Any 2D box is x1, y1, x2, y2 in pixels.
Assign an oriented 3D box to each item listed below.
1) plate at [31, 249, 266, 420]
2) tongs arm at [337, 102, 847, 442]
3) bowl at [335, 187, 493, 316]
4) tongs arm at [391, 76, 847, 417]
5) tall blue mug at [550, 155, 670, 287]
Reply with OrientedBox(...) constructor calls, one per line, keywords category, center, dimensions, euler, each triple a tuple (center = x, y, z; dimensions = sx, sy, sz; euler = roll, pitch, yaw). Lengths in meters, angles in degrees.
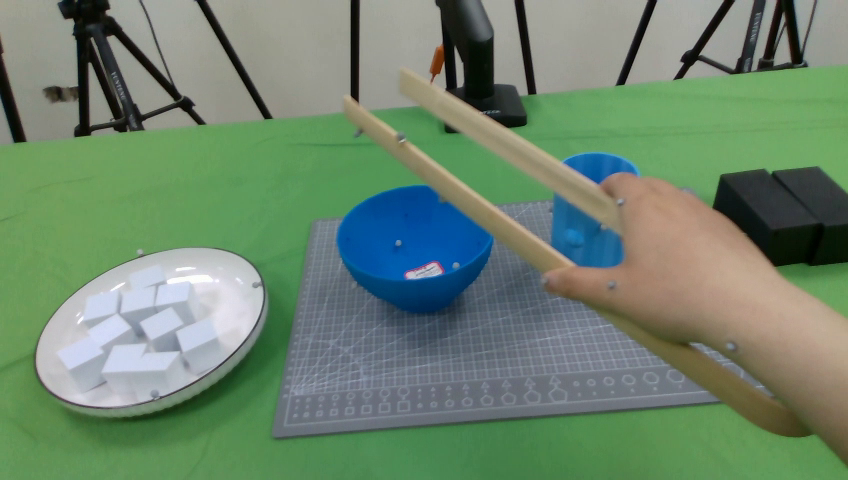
OrientedBox(category="plate", center=(-0.251, 0.087, 0.574), dimensions=(0.209, 0.038, 0.207), euler=(-3, 38, 2))
OrientedBox(category="tongs arm", center=(0.076, -0.004, 0.401), dimensions=(0.051, 0.027, 0.381), euler=(-31, 56, -29))
OrientedBox(category="bowl", center=(-0.006, 0.021, 0.591), dimensions=(0.151, 0.077, 0.150), euler=(-3, 38, 3))
OrientedBox(category="tongs arm", center=(0.101, -0.021, 0.418), dimensions=(0.028, 0.028, 0.384), euler=(-30, 55, -32))
OrientedBox(category="tall blue mug", center=(0.179, -0.017, 0.590), dimensions=(0.107, 0.109, 0.077), euler=(2, 38, 10))
